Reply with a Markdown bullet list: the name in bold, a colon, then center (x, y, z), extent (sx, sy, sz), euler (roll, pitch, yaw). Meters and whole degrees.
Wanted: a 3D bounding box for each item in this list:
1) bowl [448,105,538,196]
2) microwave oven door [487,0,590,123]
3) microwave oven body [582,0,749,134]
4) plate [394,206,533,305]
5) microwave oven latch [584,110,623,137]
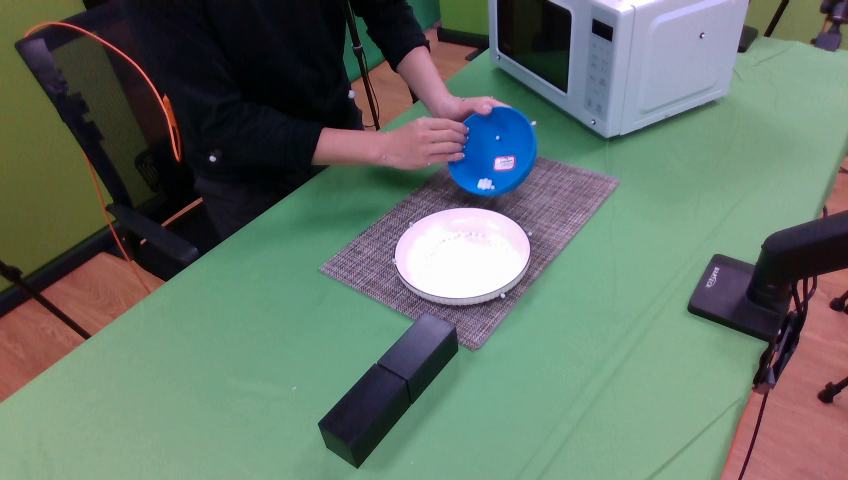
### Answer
- **bowl**: center (0.122, -0.134, 0.986), extent (0.150, 0.077, 0.151), euler (-9, 70, 25)
- **microwave oven door**: center (0.232, -0.420, 1.230), extent (0.039, 0.245, 0.352), euler (-22, 43, -16)
- **microwave oven body**: center (0.382, -0.444, 1.246), extent (0.327, 0.261, 0.437), euler (-22, 42, -16)
- **plate**: center (0.059, 0.025, 0.915), extent (0.207, 0.039, 0.206), euler (-4, 41, 4)
- **microwave oven latch**: center (0.337, -0.222, 1.142), extent (0.030, 0.029, 0.078), euler (-21, 42, -14)
